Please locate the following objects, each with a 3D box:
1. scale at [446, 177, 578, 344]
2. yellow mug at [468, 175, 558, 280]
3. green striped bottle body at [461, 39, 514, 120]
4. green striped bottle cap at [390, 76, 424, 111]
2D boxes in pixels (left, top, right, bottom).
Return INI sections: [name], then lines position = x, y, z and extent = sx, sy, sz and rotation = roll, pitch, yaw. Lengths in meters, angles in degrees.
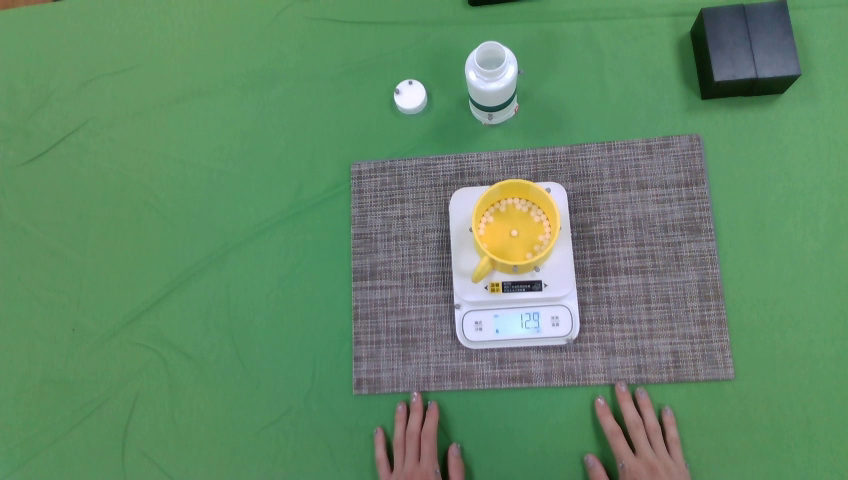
[scale]
position = 0.106, 0.024, 0.742
extent = 0.148, 0.032, 0.200
rotation = -4, 78, 6
[yellow mug]
position = 0.093, -0.006, 0.702
extent = 0.099, 0.064, 0.130
rotation = 36, 85, 12
[green striped bottle body]
position = 0.079, -0.201, 0.752
extent = 0.063, 0.120, 0.063
rotation = -2, 77, 7
[green striped bottle cap]
position = -0.023, -0.198, 0.818
extent = 0.044, 0.020, 0.044
rotation = -1, 81, 6
